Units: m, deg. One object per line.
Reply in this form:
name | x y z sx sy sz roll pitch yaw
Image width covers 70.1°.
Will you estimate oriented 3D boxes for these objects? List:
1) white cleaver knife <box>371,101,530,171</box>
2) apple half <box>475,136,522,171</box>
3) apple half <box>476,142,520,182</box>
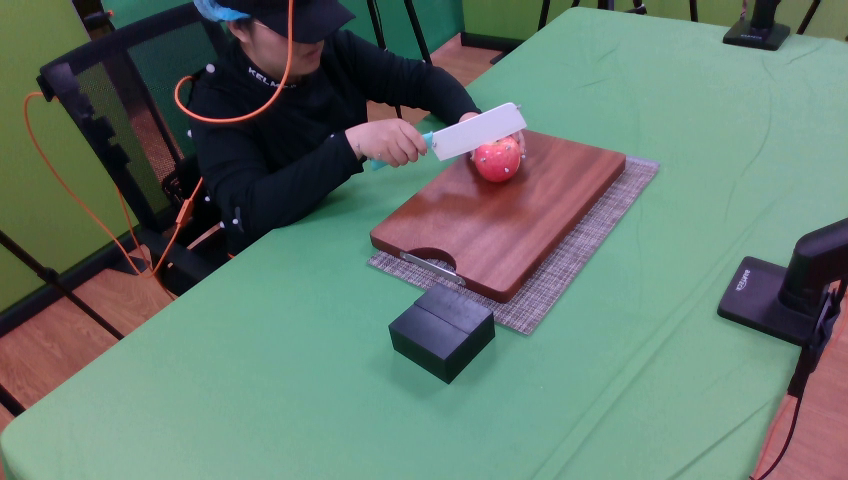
white cleaver knife | 0.037 -0.163 1.024 0.285 0.066 0.021 -16 36 22
apple half | 0.132 -0.150 1.056 0.080 0.075 0.053 -4 35 14
apple half | 0.126 -0.126 1.026 0.081 0.081 0.032 0 36 12
